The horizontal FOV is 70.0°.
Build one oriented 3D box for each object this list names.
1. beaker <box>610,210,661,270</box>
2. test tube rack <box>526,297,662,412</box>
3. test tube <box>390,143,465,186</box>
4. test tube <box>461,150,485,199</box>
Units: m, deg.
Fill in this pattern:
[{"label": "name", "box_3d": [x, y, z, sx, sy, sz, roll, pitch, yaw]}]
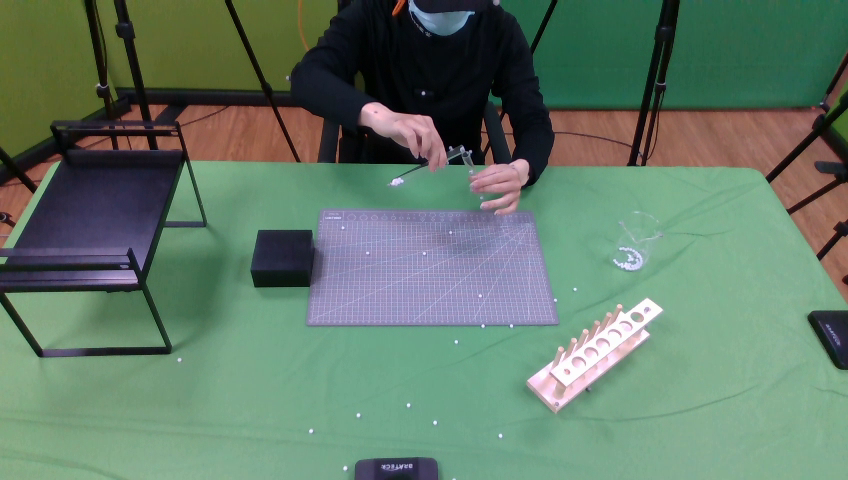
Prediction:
[{"label": "beaker", "box_3d": [0.404, 0.005, 1.170, 0.074, 0.101, 0.083, 19, 49, 15]}, {"label": "test tube rack", "box_3d": [0.284, 0.176, 1.007, 0.242, 0.085, 0.066, -29, 54, -27]}, {"label": "test tube", "box_3d": [0.006, -0.135, 1.092, 0.150, 0.017, 0.017, -27, 52, -7]}, {"label": "test tube", "box_3d": [0.096, -0.123, 1.166, 0.017, 0.151, 0.017, -9, 59, 15]}]
